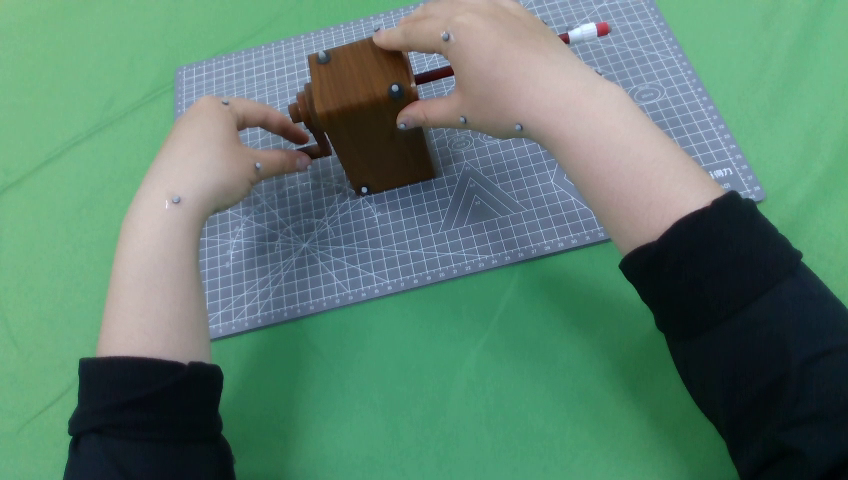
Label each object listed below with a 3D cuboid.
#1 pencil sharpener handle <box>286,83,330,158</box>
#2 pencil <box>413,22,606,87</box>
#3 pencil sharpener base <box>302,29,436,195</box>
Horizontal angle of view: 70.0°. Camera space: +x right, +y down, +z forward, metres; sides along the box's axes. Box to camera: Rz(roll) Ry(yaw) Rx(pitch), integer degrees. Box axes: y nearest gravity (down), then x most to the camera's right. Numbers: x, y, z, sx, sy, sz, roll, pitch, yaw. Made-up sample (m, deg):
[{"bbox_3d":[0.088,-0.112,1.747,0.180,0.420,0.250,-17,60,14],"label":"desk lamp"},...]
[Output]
[{"bbox_3d":[-0.091,-0.084,0.449,0.030,0.068,0.035,-16,63,2],"label":"pencil sharpener handle"},{"bbox_3d":[0.034,-0.124,0.430,0.194,0.012,0.012,-15,60,3],"label":"pencil"},{"bbox_3d":[-0.040,-0.091,0.458,0.077,0.108,0.061,-16,60,2],"label":"pencil sharpener base"}]
